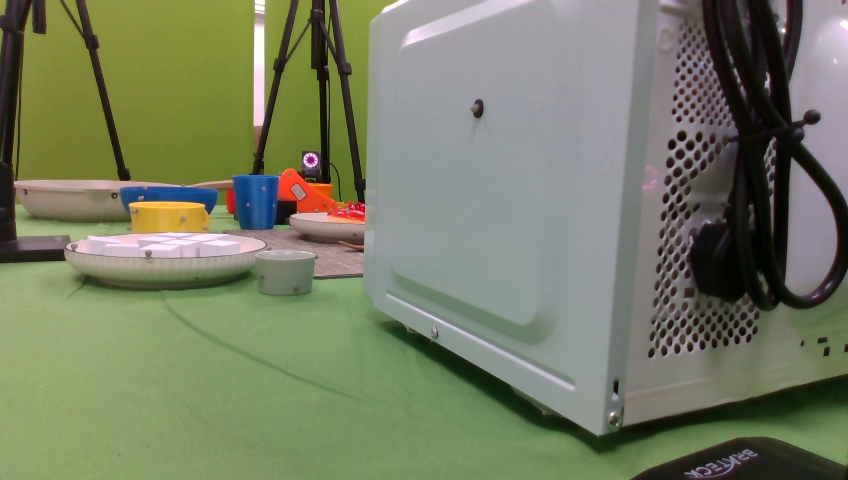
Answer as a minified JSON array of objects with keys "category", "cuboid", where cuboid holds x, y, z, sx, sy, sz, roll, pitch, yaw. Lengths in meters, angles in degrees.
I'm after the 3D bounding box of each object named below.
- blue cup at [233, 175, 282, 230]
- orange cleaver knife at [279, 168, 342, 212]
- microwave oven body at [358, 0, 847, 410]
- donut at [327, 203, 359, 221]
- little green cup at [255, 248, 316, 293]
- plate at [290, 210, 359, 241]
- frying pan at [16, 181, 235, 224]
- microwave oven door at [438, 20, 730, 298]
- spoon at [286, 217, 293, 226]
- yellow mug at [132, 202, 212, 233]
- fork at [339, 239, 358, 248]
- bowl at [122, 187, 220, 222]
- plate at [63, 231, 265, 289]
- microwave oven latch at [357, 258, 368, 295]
[{"category":"blue cup","cuboid":[-0.314,-0.071,1.141,0.093,0.100,0.092,0,7,0]},{"category":"orange cleaver knife","cuboid":[-0.236,-0.084,1.333,0.212,0.077,0.012,31,-9,-31]},{"category":"microwave oven body","cuboid":[0.210,-0.051,0.471,0.444,0.260,0.324,-1,7,-28]},{"category":"donut","cuboid":[-0.120,-0.038,1.055,0.099,0.048,0.099,5,7,0]},{"category":"little green cup","cuboid":[-0.144,0.031,0.627,0.061,0.038,0.061,2,6,0]},{"category":"plate","cuboid":[-0.127,-0.026,1.051,0.209,0.038,0.209,2,7,0]},{"category":"frying pan","cuboid":[-0.554,-0.097,1.266,0.490,0.102,0.305,-10,13,-24]},{"category":"microwave oven door","cuboid":[0.181,-0.076,0.618,0.358,0.243,0.039,-2,8,-28]},{"category":"spoon","cuboid":[-0.180,-0.037,1.209,0.195,0.021,0.041,-3,-12,-31]},{"category":"yellow mug","cuboid":[-0.356,-0.020,0.878,0.099,0.064,0.131,5,7,21]},{"category":"fork","cuboid":[-0.027,0.003,0.925,0.208,0.018,0.028,-2,-3,-18]},{"category":"bowl","cuboid":[-0.421,-0.046,1.012,0.151,0.077,0.151,2,8,0]},{"category":"plate","cuboid":[-0.288,0.021,0.687,0.208,0.039,0.207,2,8,0]},{"category":"microwave oven latch","cuboid":[-0.019,0.031,0.529,0.079,0.029,0.030,-1,7,-26]}]
